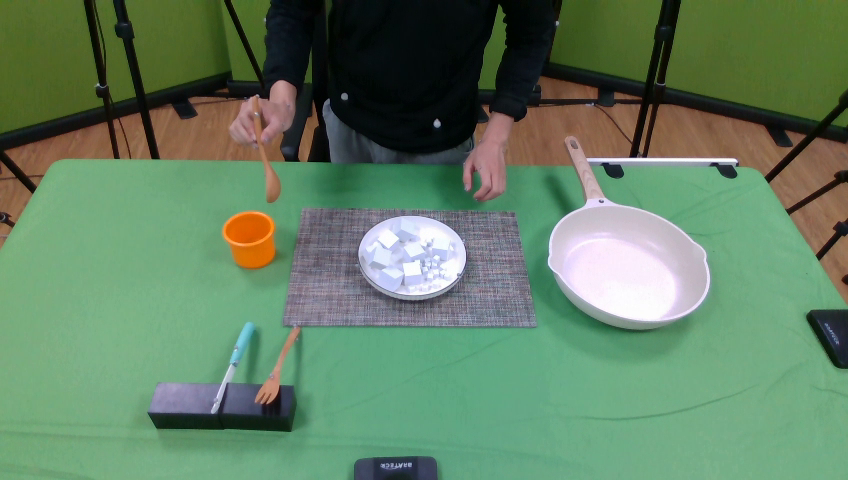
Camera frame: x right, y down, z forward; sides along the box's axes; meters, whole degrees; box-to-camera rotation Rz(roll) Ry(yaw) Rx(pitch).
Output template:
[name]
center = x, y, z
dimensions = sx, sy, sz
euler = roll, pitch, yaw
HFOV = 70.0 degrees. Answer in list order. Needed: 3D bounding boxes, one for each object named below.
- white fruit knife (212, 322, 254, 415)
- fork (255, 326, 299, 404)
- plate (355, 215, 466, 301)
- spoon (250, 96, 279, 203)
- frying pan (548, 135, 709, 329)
[white fruit knife]
center = -0.298, 0.193, 0.947
dimensions = 0.016, 0.027, 0.206
euler = 2, 31, -1
[fork]
center = -0.226, 0.192, 0.955
dimensions = 0.028, 0.019, 0.206
euler = 1, 27, 3
[plate]
center = -0.025, 0.038, 1.143
dimensions = 0.208, 0.039, 0.206
euler = 3, 46, -2
[spoon]
center = -0.281, -0.154, 1.052
dimensions = 0.021, 0.194, 0.041
euler = 7, 31, 25
[frying pan]
center = 0.360, -0.033, 1.200
dimensions = 0.307, 0.103, 0.484
euler = -4, 55, -9
